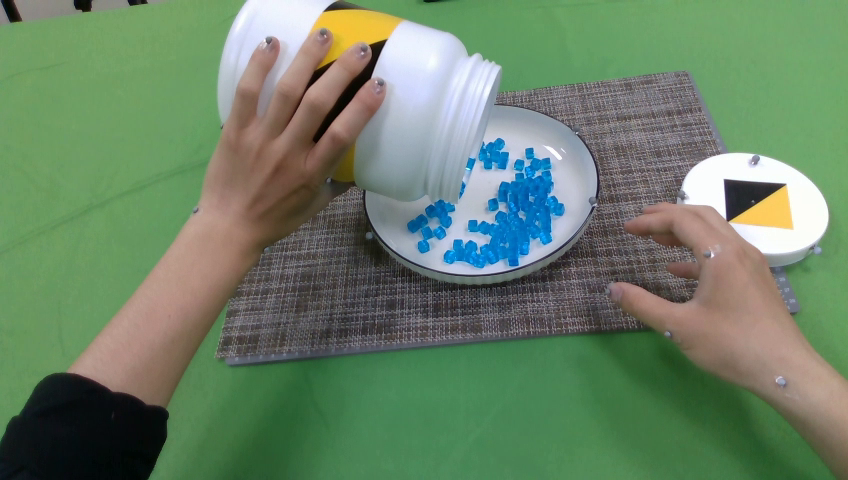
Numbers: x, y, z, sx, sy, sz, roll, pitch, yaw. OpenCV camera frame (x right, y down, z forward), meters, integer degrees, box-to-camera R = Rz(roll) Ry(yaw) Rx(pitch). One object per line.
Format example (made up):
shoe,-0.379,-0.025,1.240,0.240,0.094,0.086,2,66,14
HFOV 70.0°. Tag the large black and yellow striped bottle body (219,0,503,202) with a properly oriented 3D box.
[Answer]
large black and yellow striped bottle body,-0.043,-0.108,0.464,0.184,0.132,0.130,18,56,5

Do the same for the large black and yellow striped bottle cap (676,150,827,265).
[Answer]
large black and yellow striped bottle cap,0.273,-0.030,0.507,0.115,0.019,0.114,-2,53,3

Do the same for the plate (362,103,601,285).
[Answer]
plate,0.050,-0.042,0.542,0.207,0.039,0.205,-5,51,6
